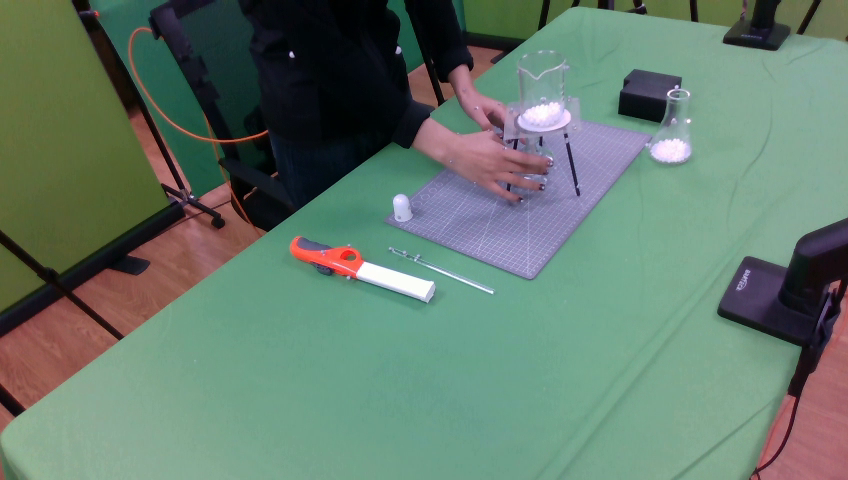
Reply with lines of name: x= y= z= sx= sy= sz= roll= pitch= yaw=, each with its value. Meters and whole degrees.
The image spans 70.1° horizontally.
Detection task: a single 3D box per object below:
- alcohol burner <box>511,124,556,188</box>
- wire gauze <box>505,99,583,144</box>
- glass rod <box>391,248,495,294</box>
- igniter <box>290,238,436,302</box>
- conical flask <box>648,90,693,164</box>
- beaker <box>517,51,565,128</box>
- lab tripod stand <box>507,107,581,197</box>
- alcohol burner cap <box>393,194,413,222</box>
alcohol burner: x=0.189 y=-0.150 z=1.050 sx=0.078 sy=0.120 sz=0.077 roll=-6 pitch=42 yaw=6
wire gauze: x=0.194 y=-0.199 z=0.988 sx=0.121 sy=0.011 sz=0.124 roll=-3 pitch=41 yaw=13
glass rod: x=0.026 y=0.045 z=0.936 sx=0.198 sy=0.008 sz=0.008 roll=21 pitch=49 yaw=32
igniter: x=-0.106 y=0.044 z=0.949 sx=0.274 sy=0.025 sz=0.057 roll=16 pitch=56 yaw=27
conical flask: x=0.437 y=-0.199 z=1.057 sx=0.075 sy=0.122 sz=0.075 roll=-5 pitch=40 yaw=5
beaker: x=0.186 y=-0.235 z=0.957 sx=0.073 sy=0.101 sz=0.084 roll=4 pitch=42 yaw=18
lab tripod stand: x=0.201 y=-0.151 z=1.033 sx=0.148 sy=0.132 sz=0.147 roll=-7 pitch=39 yaw=6
alcohol burner cap: x=-0.038 y=-0.056 z=1.038 sx=0.034 sy=0.048 sz=0.033 roll=-6 pitch=40 yaw=5
